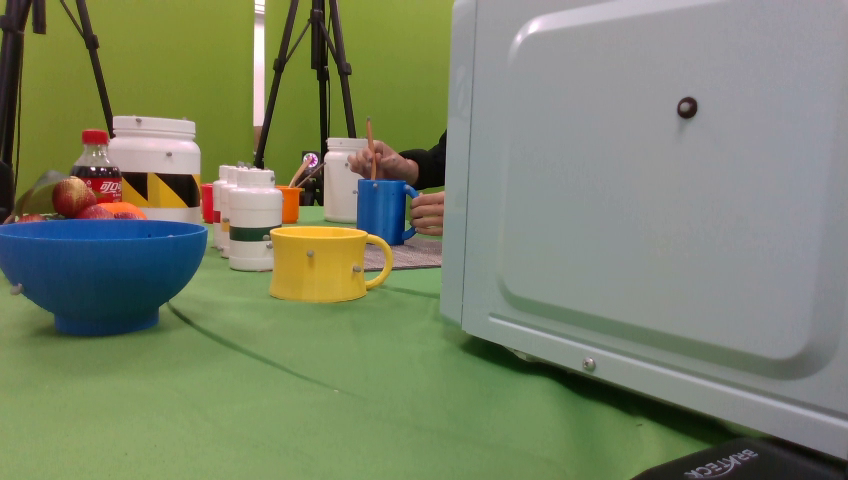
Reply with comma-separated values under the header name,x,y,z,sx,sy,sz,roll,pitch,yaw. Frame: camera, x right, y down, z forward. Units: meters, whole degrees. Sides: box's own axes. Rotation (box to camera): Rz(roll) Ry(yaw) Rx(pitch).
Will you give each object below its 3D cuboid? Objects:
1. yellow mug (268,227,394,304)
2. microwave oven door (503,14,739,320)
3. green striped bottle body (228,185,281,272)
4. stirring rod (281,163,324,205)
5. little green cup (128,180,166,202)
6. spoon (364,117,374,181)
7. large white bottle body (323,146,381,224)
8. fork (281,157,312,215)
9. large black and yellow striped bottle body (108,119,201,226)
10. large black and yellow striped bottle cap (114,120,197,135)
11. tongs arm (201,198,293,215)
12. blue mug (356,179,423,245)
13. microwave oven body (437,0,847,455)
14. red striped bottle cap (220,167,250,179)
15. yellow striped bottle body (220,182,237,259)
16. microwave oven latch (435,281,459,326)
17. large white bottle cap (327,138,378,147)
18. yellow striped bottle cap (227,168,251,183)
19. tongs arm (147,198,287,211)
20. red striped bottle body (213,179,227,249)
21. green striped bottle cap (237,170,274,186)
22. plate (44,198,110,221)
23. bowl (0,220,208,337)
name,x,y,z,sx,sy,sz,roll,pitch,yaw
yellow mug,-0.094,0.023,0.630,0.131,0.064,0.099,0,7,-22
microwave oven door,0.217,-0.065,0.600,0.358,0.243,0.039,-4,10,-41
green striped bottle body,-0.208,-0.023,0.745,0.063,0.119,0.063,2,7,0
stirring rod,-0.278,-0.105,1.293,0.176,0.006,0.014,-47,25,-18
little green cup,-0.485,-0.087,1.062,0.061,0.038,0.061,-1,6,0
spoon,-0.091,-0.111,1.009,0.021,0.193,0.041,0,-8,1
large white bottle body,-0.163,-0.134,1.369,0.131,0.184,0.130,2,8,0
fork,-0.289,-0.116,1.321,0.028,0.019,0.207,6,51,19
large black and yellow striped bottle body,-0.412,-0.088,0.930,0.131,0.184,0.130,3,7,0
large black and yellow striped bottle cap,-0.407,-0.171,0.920,0.115,0.019,0.115,2,9,0
tongs arm,-0.423,-0.085,1.472,0.050,0.026,0.386,2,6,21
blue mug,-0.057,-0.046,1.006,0.116,0.106,0.082,5,8,19
microwave oven body,0.279,-0.040,0.465,0.444,0.260,0.324,-3,9,-41
red striped bottle cap,-0.281,-0.100,0.901,0.044,0.017,0.044,-1,5,0
yellow striped bottle body,-0.246,-0.036,0.825,0.063,0.120,0.063,3,8,0
microwave oven latch,0.044,0.046,0.470,0.079,0.029,0.030,-3,8,-40
large white bottle cap,-0.160,-0.218,1.357,0.115,0.018,0.115,2,8,0
yellow striped bottle cap,-0.243,-0.087,0.818,0.044,0.018,0.044,3,6,0
tongs arm,-0.504,-0.091,1.513,0.028,0.028,0.389,0,4,37
red striped bottle body,-0.284,-0.048,0.909,0.063,0.119,0.063,3,10,0
green striped bottle cap,-0.205,-0.075,0.737,0.044,0.020,0.044,1,6,0
plate,-0.617,-0.056,1.179,0.209,0.038,0.209,3,7,0
bowl,-0.251,0.029,0.479,0.151,0.077,0.151,2,7,0
